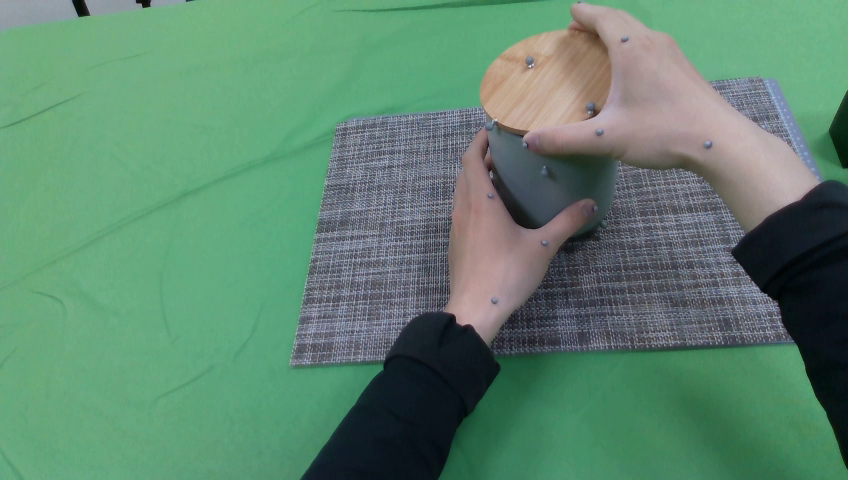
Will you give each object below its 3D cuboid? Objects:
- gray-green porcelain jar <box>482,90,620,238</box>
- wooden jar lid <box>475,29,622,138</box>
[{"bbox_3d":[0.105,-0.072,0.508,0.106,0.128,0.105,-6,51,8],"label":"gray-green porcelain jar"},{"bbox_3d":[0.093,-0.116,0.454,0.108,0.021,0.107,-9,55,13],"label":"wooden jar lid"}]
